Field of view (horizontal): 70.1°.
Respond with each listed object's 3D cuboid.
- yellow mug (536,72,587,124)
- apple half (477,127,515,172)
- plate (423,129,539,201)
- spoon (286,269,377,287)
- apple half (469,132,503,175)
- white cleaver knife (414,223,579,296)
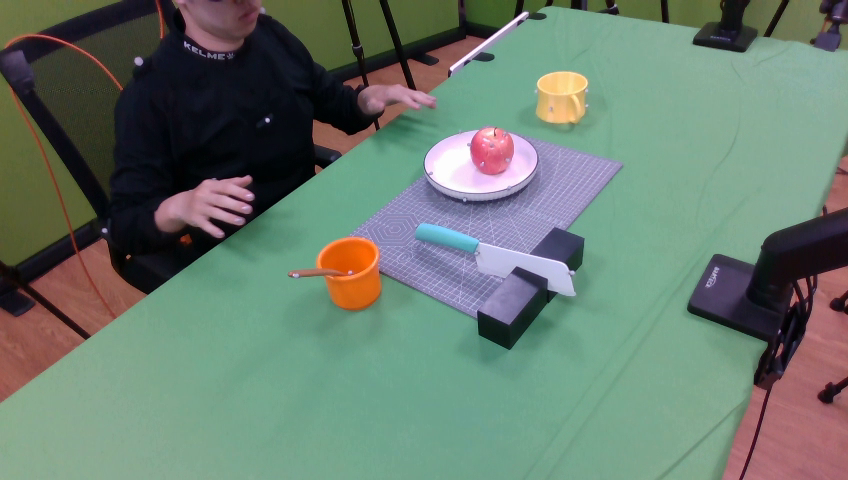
[{"bbox_3d":[0.284,-0.281,1.222,0.100,0.064,0.130,-16,42,-9],"label":"yellow mug"},{"bbox_3d":[0.132,-0.164,1.085,0.053,0.075,0.080,-28,41,-28],"label":"apple half"},{"bbox_3d":[0.103,-0.132,1.092,0.209,0.038,0.208,-4,40,4],"label":"plate"},{"bbox_3d":[-0.125,0.049,0.831,0.041,0.195,0.021,22,92,28],"label":"spoon"},{"bbox_3d":[0.102,-0.146,1.067,0.033,0.081,0.080,-28,44,-29],"label":"apple half"},{"bbox_3d":[0.093,0.028,0.880,0.284,0.066,0.021,17,44,40],"label":"white cleaver knife"}]
